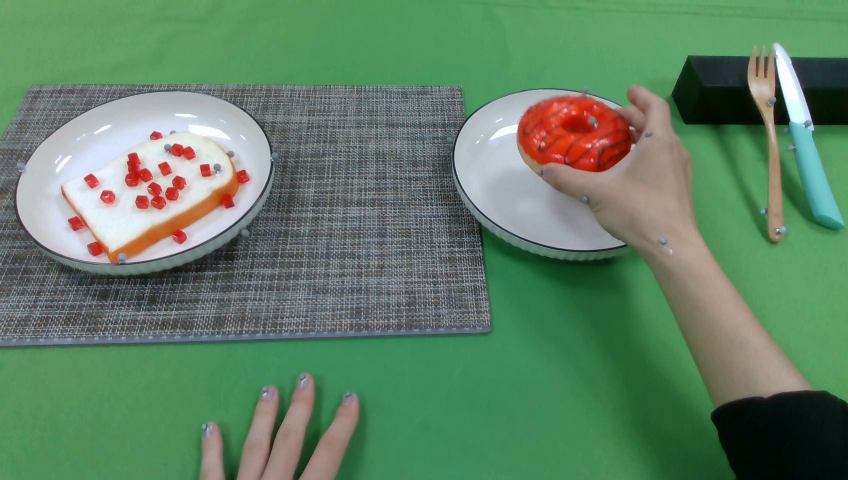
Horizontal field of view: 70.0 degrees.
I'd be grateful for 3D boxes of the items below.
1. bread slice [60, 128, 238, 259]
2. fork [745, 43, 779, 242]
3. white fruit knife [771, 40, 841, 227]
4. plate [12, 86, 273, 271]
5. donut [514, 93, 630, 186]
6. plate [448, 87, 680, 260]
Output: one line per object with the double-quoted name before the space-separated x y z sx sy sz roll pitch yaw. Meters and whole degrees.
"bread slice" -0.234 -0.051 0.528 0.131 0.019 0.104 -36 63 -26
"fork" 0.324 -0.097 0.573 0.028 0.019 0.206 9 70 -4
"white fruit knife" 0.364 -0.109 0.588 0.027 0.016 0.206 0 69 -6
"plate" -0.237 -0.055 0.528 0.209 0.038 0.207 2 53 -2
"donut" 0.127 -0.088 0.522 0.099 0.048 0.098 2 51 -2
"plate" 0.124 -0.061 0.560 0.208 0.039 0.205 2 52 -2
